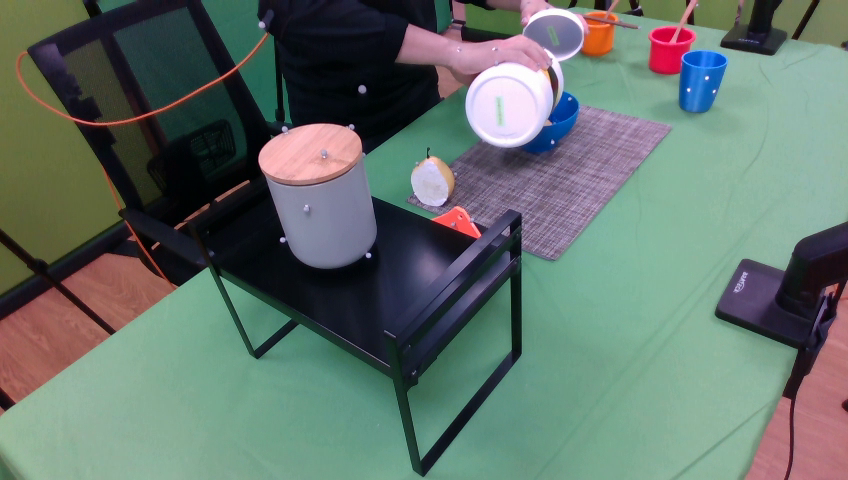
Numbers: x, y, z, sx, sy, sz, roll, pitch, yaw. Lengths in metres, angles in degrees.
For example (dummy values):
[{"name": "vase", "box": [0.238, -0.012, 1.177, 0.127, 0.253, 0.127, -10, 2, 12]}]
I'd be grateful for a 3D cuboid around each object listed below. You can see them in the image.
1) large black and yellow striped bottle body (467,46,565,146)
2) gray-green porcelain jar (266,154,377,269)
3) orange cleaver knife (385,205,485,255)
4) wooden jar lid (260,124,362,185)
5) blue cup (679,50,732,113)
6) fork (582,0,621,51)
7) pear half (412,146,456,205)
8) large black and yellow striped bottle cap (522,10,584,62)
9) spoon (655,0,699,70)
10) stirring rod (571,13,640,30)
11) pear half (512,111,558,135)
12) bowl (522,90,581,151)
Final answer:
[{"name": "large black and yellow striped bottle body", "box": [0.159, -0.246, 1.005, 0.130, 0.131, 0.184, 10, 33, 20]}, {"name": "gray-green porcelain jar", "box": [-0.112, -0.039, 0.685, 0.106, 0.127, 0.105, -4, 40, 4]}, {"name": "orange cleaver knife", "box": [0.012, -0.010, 0.942, 0.012, 0.077, 0.210, -36, 19, -35]}, {"name": "wooden jar lid", "box": [-0.119, -0.088, 0.645, 0.108, 0.021, 0.108, -4, 40, 4]}, {"name": "blue cup", "box": [0.545, -0.309, 1.193, 0.092, 0.100, 0.092, -4, 39, 3]}, {"name": "fork", "box": [0.446, -0.538, 1.438, 0.207, 0.019, 0.028, -57, 36, 12]}, {"name": "pear half", "box": [0.019, -0.120, 1.042, 0.076, 0.110, 0.056, 11, 43, 16]}, {"name": "large black and yellow striped bottle cap", "box": [0.245, -0.385, 1.149, 0.114, 0.115, 0.018, 4, 62, 14]}, {"name": "spoon", "box": [0.567, -0.463, 1.337, 0.041, 0.022, 0.193, 30, 97, 38]}, {"name": "stirring rod", "box": [0.418, -0.508, 1.404, 0.174, 0.006, 0.014, 28, 54, 35]}, {"name": "pear half", "box": [0.212, -0.228, 1.153, 0.088, 0.031, 0.070, 7, 46, 11]}, {"name": "bowl", "box": [0.221, -0.224, 1.155, 0.151, 0.077, 0.150, -4, 40, 4]}]
